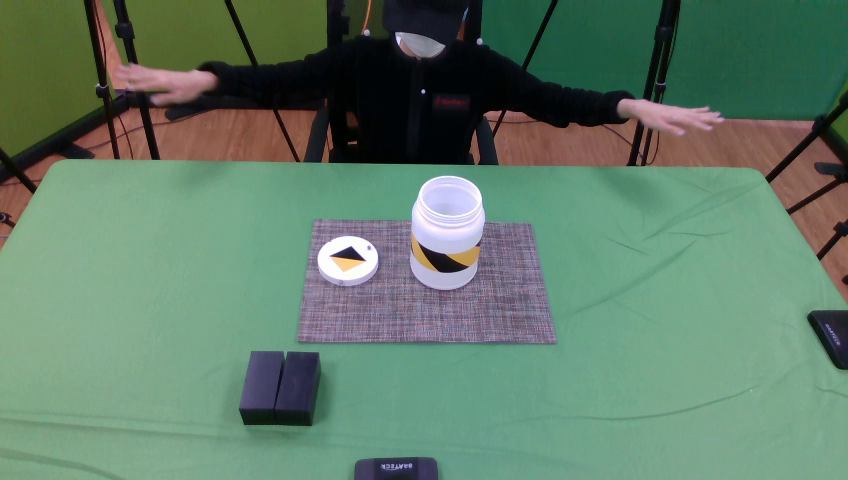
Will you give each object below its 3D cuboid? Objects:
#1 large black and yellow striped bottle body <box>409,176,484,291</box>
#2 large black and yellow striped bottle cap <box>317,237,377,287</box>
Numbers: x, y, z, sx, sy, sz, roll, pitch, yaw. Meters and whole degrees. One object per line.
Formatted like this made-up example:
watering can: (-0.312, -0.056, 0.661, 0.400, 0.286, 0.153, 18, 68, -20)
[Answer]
large black and yellow striped bottle body: (0.040, -0.012, 1.095, 0.131, 0.185, 0.130, 2, 46, -2)
large black and yellow striped bottle cap: (-0.146, 0.040, 1.148, 0.115, 0.019, 0.114, 2, 47, -2)
